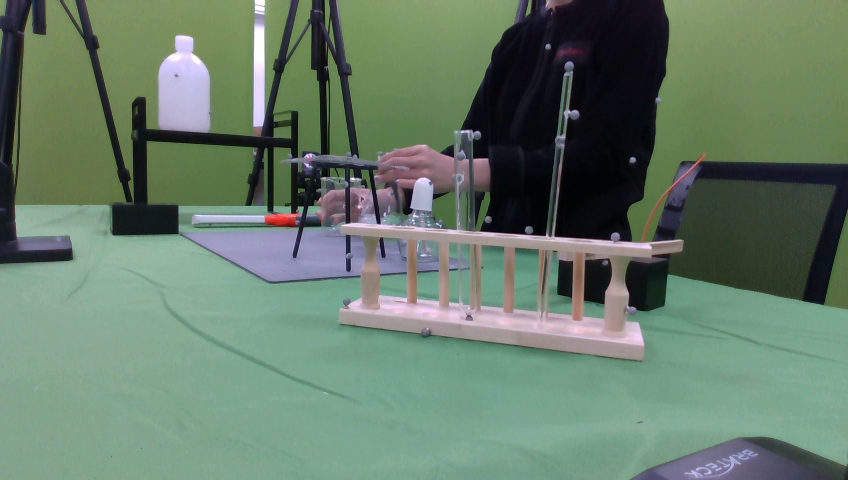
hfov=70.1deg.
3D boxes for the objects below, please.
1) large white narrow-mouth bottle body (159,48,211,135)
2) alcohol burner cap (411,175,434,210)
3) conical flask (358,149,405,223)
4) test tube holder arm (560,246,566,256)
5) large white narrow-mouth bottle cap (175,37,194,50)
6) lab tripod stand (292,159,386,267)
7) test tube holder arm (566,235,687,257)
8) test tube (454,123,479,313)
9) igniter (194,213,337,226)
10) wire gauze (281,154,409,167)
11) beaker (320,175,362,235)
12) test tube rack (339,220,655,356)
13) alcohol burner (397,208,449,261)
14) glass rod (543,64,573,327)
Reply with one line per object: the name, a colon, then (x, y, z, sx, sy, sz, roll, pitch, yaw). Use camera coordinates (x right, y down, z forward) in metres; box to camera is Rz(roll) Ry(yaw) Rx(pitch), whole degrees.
large white narrow-mouth bottle body: (-0.503, -0.323, 1.275, 0.102, 0.194, 0.102, 2, 7, 0)
alcohol burner cap: (0.000, -0.067, 0.842, 0.034, 0.048, 0.034, 7, 8, -1)
conical flask: (-0.064, -0.082, 0.965, 0.075, 0.122, 0.075, 5, 3, 0)
test tube holder arm: (0.173, 0.007, 0.612, 0.088, 0.015, 0.010, -3, 9, -30)
large white narrow-mouth bottle cap: (-0.501, -0.409, 1.264, 0.038, 0.024, 0.037, 2, 7, 0)
lab tripod stand: (-0.105, -0.039, 0.797, 0.148, 0.131, 0.148, 2, 5, 0)
test tube holder arm: (0.215, 0.006, 0.630, 0.179, 0.015, 0.013, -3, 9, -31)
test tube: (0.034, -0.016, 0.477, 0.017, 0.150, 0.017, -2, 9, 1)
igniter: (-0.306, -0.041, 1.197, 0.278, 0.025, 0.057, -2, -2, -30)
wire gauze: (-0.104, -0.104, 0.784, 0.126, 0.011, 0.121, -2, 8, -38)
beaker: (-0.146, -0.062, 1.065, 0.074, 0.100, 0.084, 0, 9, -8)
test tube rack: (0.056, 0.032, 0.495, 0.242, 0.085, 0.067, 4, 7, 15)
alcohol burner: (-0.002, -0.031, 0.846, 0.078, 0.119, 0.078, 0, 6, 0)
glass rod: (0.101, -0.028, 0.453, 0.008, 0.199, 0.008, 2, 13, 0)
